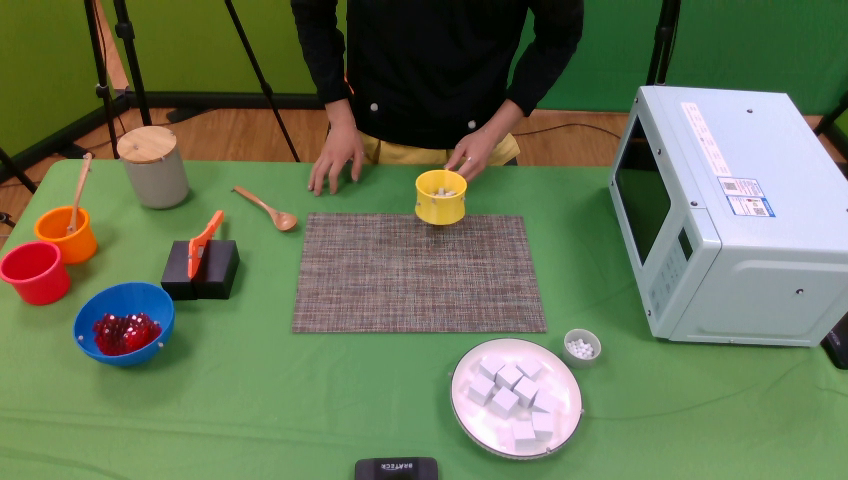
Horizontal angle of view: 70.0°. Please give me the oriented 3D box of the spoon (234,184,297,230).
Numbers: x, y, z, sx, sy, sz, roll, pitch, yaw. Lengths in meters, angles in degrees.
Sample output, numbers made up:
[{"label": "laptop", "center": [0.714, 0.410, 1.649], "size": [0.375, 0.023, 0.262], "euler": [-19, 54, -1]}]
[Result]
[{"label": "spoon", "center": [-0.327, -0.073, 1.239], "size": [0.193, 0.022, 0.041], "euler": [34, 70, 25]}]

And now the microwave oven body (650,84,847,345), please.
[{"label": "microwave oven body", "center": [0.569, -0.054, 1.116], "size": [0.326, 0.261, 0.439], "euler": [2, 46, -1]}]

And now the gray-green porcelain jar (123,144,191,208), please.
[{"label": "gray-green porcelain jar", "center": [-0.531, -0.137, 1.213], "size": [0.106, 0.127, 0.105], "euler": [2, 46, -2]}]

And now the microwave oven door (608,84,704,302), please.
[{"label": "microwave oven door", "center": [0.424, -0.096, 1.138], "size": [0.039, 0.245, 0.353], "euler": [3, 46, -1]}]

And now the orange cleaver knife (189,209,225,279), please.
[{"label": "orange cleaver knife", "center": [-0.400, 0.002, 1.122], "size": [0.012, 0.077, 0.210], "euler": [4, 23, -4]}]

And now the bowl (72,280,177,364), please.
[{"label": "bowl", "center": [-0.472, 0.147, 0.982], "size": [0.151, 0.077, 0.150], "euler": [2, 46, -2]}]

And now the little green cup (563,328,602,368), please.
[{"label": "little green cup", "center": [0.265, 0.184, 1.025], "size": [0.061, 0.039, 0.061], "euler": [1, 46, -1]}]

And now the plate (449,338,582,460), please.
[{"label": "plate", "center": [0.141, 0.251, 0.956], "size": [0.208, 0.039, 0.206], "euler": [2, 46, -2]}]

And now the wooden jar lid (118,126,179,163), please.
[{"label": "wooden jar lid", "center": [-0.528, -0.181, 1.167], "size": [0.108, 0.021, 0.107], "euler": [3, 47, -4]}]

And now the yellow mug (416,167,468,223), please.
[{"label": "yellow mug", "center": [0.038, -0.098, 1.195], "size": [0.100, 0.064, 0.130], "euler": [8, 39, 8]}]

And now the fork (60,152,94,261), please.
[{"label": "fork", "center": [-0.638, -0.063, 1.119], "size": [0.028, 0.018, 0.207], "euler": [12, 90, 9]}]

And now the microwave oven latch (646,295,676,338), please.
[{"label": "microwave oven latch", "center": [0.412, 0.132, 1.060], "size": [0.030, 0.029, 0.078], "euler": [3, 46, 0]}]
